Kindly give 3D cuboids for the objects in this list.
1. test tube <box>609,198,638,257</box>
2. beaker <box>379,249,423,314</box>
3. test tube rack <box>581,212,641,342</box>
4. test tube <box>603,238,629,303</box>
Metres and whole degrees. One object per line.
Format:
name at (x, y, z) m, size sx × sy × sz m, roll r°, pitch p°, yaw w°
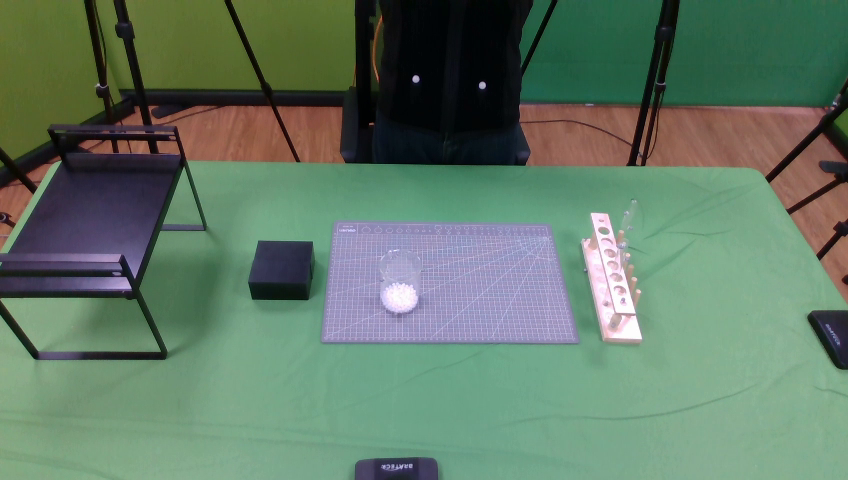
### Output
test tube at (0.375, -0.021, 1.141) m, size 0.017 × 0.151 × 0.017 m, roll 2°, pitch 45°, yaw -2°
beaker at (-0.044, 0.074, 1.066) m, size 0.074 × 0.101 × 0.083 m, roll -22°, pitch 51°, yaw -23°
test tube rack at (0.351, 0.063, 1.121) m, size 0.067 × 0.085 × 0.241 m, roll 3°, pitch 46°, yaw -1°
test tube at (0.334, 0.056, 1.058) m, size 0.017 × 0.151 × 0.017 m, roll 0°, pitch 41°, yaw 0°
